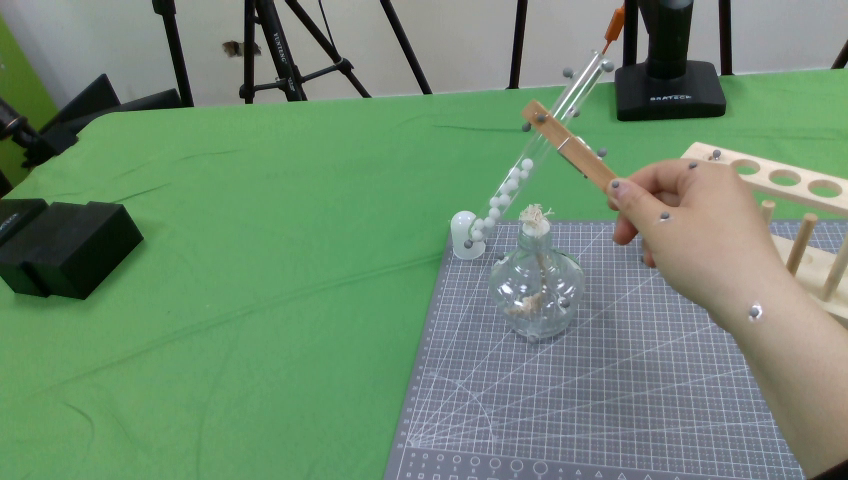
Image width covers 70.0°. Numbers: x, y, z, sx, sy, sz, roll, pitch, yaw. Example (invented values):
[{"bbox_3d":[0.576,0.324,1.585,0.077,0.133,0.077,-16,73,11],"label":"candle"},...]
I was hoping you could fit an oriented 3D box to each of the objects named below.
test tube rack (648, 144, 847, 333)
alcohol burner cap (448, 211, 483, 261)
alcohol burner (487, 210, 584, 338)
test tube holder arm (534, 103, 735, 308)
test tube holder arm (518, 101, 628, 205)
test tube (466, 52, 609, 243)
[{"bbox_3d":[0.304,0.007,0.463,0.240,0.086,0.066,25,53,36],"label":"test tube rack"},{"bbox_3d":[0.039,-0.007,0.580,0.034,0.048,0.033,-6,42,6],"label":"alcohol burner cap"},{"bbox_3d":[0.087,0.022,0.478,0.078,0.120,0.077,-6,42,6],"label":"alcohol burner"},{"bbox_3d":[0.129,-0.026,0.393,0.177,0.015,0.013,48,23,15],"label":"test tube holder arm"},{"bbox_3d":[0.097,-0.057,0.398,0.087,0.015,0.010,45,22,8],"label":"test tube holder arm"},{"bbox_3d":[0.074,-0.059,0.413,0.017,0.150,0.017,31,18,-11],"label":"test tube"}]
